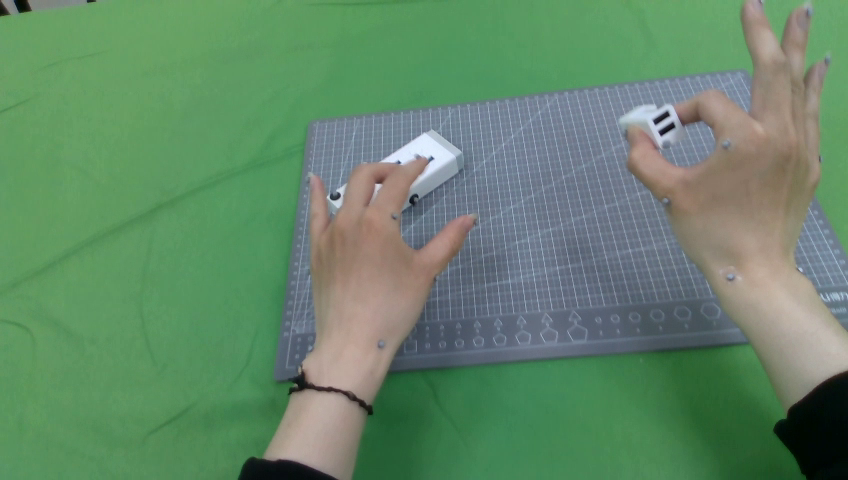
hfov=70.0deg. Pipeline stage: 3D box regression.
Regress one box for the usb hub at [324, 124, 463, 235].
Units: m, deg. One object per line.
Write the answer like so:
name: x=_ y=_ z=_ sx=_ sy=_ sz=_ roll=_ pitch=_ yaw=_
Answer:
usb hub: x=-0.027 y=-0.058 z=0.560 sx=0.125 sy=0.025 sz=0.049 roll=-35 pitch=56 yaw=-17

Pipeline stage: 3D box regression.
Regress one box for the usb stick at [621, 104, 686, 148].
usb stick: x=0.162 y=-0.082 z=0.439 sx=0.021 sy=0.059 sz=0.027 roll=-33 pitch=99 yaw=1
